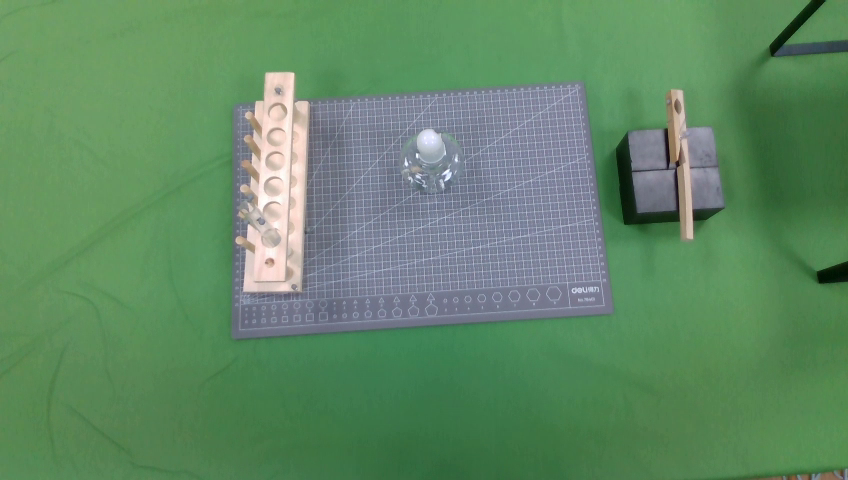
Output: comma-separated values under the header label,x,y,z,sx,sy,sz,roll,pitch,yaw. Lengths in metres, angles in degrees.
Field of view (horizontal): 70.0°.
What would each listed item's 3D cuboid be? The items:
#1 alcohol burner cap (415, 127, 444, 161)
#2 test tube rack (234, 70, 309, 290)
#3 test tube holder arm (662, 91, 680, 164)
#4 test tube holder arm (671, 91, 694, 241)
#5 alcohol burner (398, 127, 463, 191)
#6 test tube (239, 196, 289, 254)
label,x,y,z,sx,sy,sz,roll,pitch,yaw
alcohol burner cap,0.005,-0.108,0.664,0.034,0.048,0.034,0,82,3
test tube rack,-0.181,-0.068,0.708,0.067,0.085,0.241,0,77,1
test tube holder arm,0.288,-0.131,0.705,0.010,0.015,0.087,0,78,-5
test tube holder arm,0.295,-0.087,0.696,0.013,0.015,0.177,-1,78,-6
alcohol burner,0.007,-0.099,0.699,0.078,0.119,0.077,0,79,2
test tube,-0.167,-0.012,0.644,0.017,0.151,0.017,0,72,1
